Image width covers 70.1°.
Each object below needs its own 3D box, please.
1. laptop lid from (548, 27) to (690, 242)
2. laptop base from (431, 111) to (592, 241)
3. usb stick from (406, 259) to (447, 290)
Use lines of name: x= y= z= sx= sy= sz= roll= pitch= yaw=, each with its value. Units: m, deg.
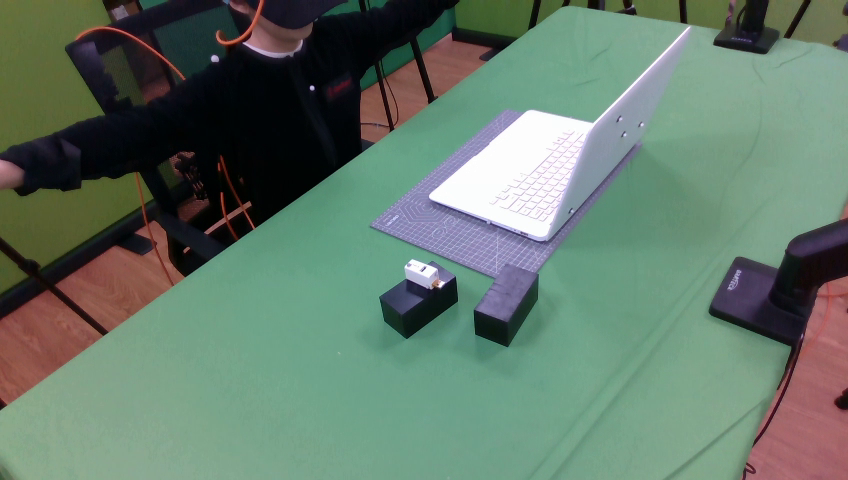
laptop lid: x=0.309 y=-0.168 z=0.949 sx=0.013 sy=0.242 sz=0.358 roll=33 pitch=52 yaw=20
laptop base: x=0.206 y=-0.130 z=1.100 sx=0.233 sy=0.023 sz=0.355 roll=20 pitch=48 yaw=34
usb stick: x=0.005 y=0.050 z=0.837 sx=0.059 sy=0.027 sz=0.021 roll=24 pitch=47 yaw=29
